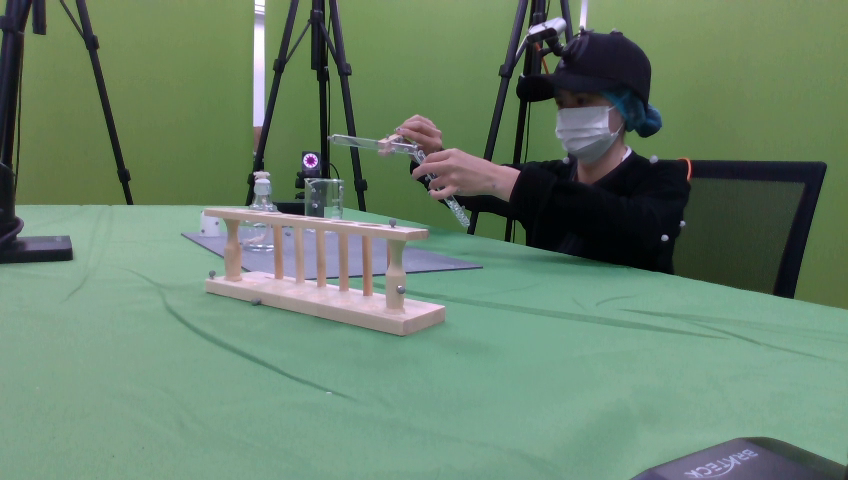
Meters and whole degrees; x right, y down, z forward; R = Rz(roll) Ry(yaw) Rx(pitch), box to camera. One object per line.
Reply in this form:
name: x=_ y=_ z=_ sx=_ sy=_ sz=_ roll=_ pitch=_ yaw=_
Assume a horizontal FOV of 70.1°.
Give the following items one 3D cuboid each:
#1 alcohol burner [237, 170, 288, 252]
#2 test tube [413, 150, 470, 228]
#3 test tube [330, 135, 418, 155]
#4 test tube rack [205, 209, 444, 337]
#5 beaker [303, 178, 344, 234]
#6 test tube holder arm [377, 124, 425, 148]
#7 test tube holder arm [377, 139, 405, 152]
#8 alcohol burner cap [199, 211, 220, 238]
alcohol burner: x=-0.236 y=-0.042 z=0.882 sx=0.078 sy=0.119 sz=0.078 roll=2 pitch=9 yaw=0
test tube: x=0.029 y=-0.083 z=0.986 sx=0.017 sy=0.150 sz=0.017 roll=-35 pitch=-1 yaw=0
test tube: x=-0.084 y=-0.158 z=0.999 sx=0.150 sy=0.017 sz=0.017 roll=9 pitch=9 yaw=10
test tube rack: x=-0.100 y=0.021 z=0.565 sx=0.241 sy=0.085 sz=0.067 roll=7 pitch=8 yaw=32
beaker: x=-0.189 y=-0.063 z=1.119 sx=0.073 sy=0.100 sz=0.084 roll=6 pitch=9 yaw=28
test tube holder arm: x=-0.036 y=-0.183 z=1.052 sx=0.015 sy=0.013 sz=0.179 roll=14 pitch=26 yaw=18
test tube holder arm: x=-0.054 y=-0.162 z=1.015 sx=0.015 sy=0.010 sz=0.088 roll=14 pitch=24 yaw=18
alcohol burner cap: x=-0.356 y=-0.027 z=1.002 sx=0.034 sy=0.048 sz=0.034 roll=2 pitch=7 yaw=0
